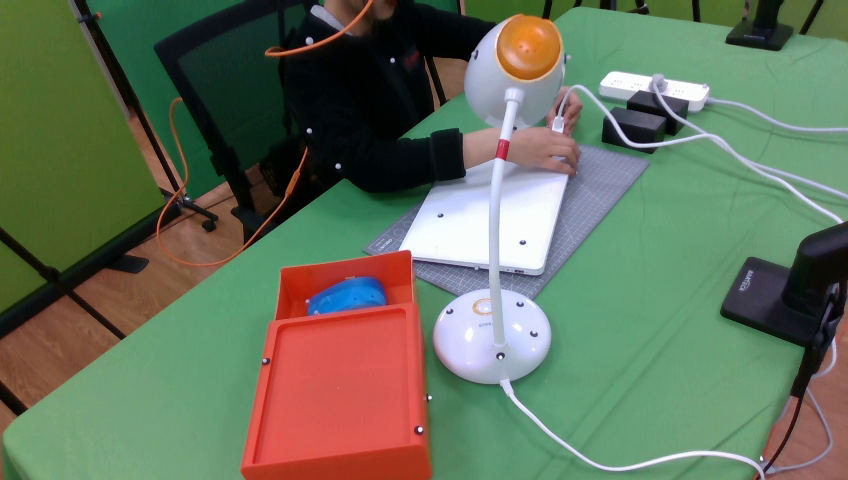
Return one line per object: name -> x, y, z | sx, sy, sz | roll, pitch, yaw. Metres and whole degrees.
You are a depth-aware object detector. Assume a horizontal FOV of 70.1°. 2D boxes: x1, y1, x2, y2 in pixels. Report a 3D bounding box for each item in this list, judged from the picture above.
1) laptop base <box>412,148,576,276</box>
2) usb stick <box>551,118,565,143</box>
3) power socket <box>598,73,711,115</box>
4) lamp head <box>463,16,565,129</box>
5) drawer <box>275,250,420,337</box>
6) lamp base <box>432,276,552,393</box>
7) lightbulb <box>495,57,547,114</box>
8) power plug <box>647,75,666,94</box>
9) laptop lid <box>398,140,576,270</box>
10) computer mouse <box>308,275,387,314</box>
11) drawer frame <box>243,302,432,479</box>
laptop base -> 0.123, -0.069, 1.049 | 0.234, 0.023, 0.354 | 4, 42, 20
usb stick -> 0.255, -0.204, 1.156 | 0.021, 0.027, 0.059 | 9, 54, 10
power socket -> 0.470, -0.303, 1.249 | 0.225, 0.033, 0.072 | 20, 49, 30
lamp head -> 0.101, -0.184, 0.655 | 0.112, 0.112, 0.123 | -9, 1, 0
drawer -> -0.104, 0.117, 0.825 | 0.194, 0.073, 0.210 | -8, 40, 1
lamp base -> 0.085, 0.075, 0.756 | 0.161, 0.181, 0.178 | -14, 44, -5
lightbulb -> 0.113, -0.178, 0.678 | 0.059, 0.059, 0.107 | -13, -1, -4
power plug -> 0.457, -0.301, 1.212 | 0.073, 0.053, 0.035 | -36, 46, -28
laptop lid -> 0.119, -0.078, 1.042 | 0.240, 0.013, 0.356 | 6, 42, 21
computer mouse -> -0.113, 0.089, 0.881 | 0.117, 0.041, 0.062 | -16, 43, 0
drawer frame -> -0.096, 0.185, 0.738 | 0.202, 0.083, 0.212 | -8, 40, 1
